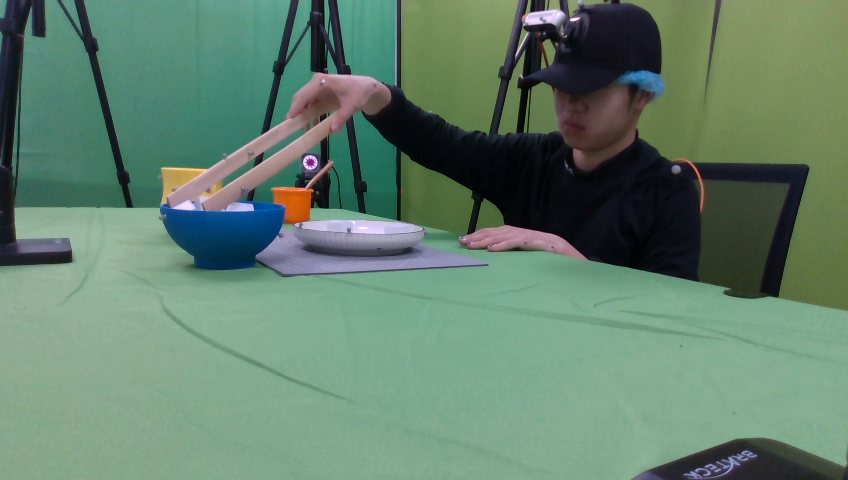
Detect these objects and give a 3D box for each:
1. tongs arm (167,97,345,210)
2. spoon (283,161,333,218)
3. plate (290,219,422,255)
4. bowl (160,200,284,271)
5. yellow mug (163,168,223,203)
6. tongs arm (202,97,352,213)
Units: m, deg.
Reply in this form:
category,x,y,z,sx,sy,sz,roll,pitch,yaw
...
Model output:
category,x,y,z,sx,sy,sz,roll,pitch,yaw
tongs arm,-0.231,-0.140,0.909,0.050,0.026,0.385,8,34,21
spoon,-0.262,-0.115,1.359,0.041,0.194,0.022,13,-33,38
plate,-0.108,-0.005,0.963,0.208,0.039,0.207,3,7,0
bowl,-0.257,-0.006,0.778,0.151,0.077,0.151,3,9,0
yellow mug,-0.383,-0.087,1.026,0.130,0.064,0.100,11,11,44
tongs arm,-0.198,-0.134,0.895,0.028,0.028,0.388,5,33,24
